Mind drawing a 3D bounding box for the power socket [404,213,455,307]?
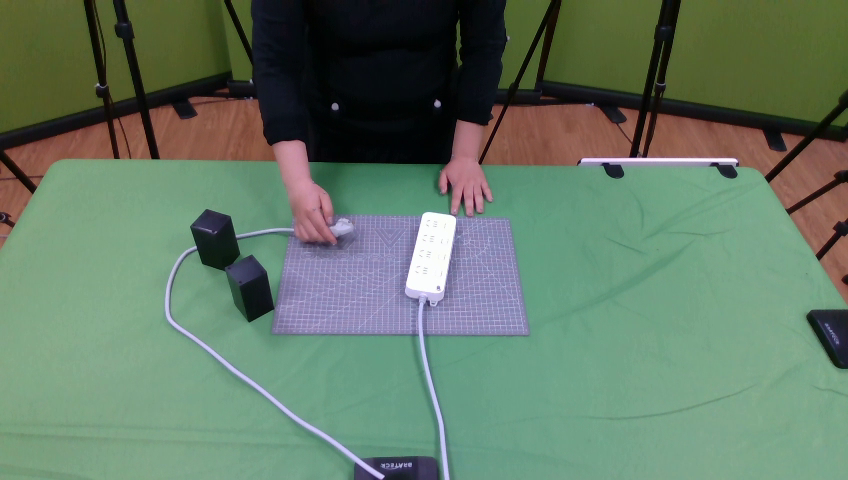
[{"bbox_3d":[0.014,0.029,1.159,0.072,0.033,0.225,8,46,5],"label":"power socket"}]

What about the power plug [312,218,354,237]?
[{"bbox_3d":[-0.173,-0.029,1.172,0.072,0.035,0.052,19,34,14],"label":"power plug"}]
